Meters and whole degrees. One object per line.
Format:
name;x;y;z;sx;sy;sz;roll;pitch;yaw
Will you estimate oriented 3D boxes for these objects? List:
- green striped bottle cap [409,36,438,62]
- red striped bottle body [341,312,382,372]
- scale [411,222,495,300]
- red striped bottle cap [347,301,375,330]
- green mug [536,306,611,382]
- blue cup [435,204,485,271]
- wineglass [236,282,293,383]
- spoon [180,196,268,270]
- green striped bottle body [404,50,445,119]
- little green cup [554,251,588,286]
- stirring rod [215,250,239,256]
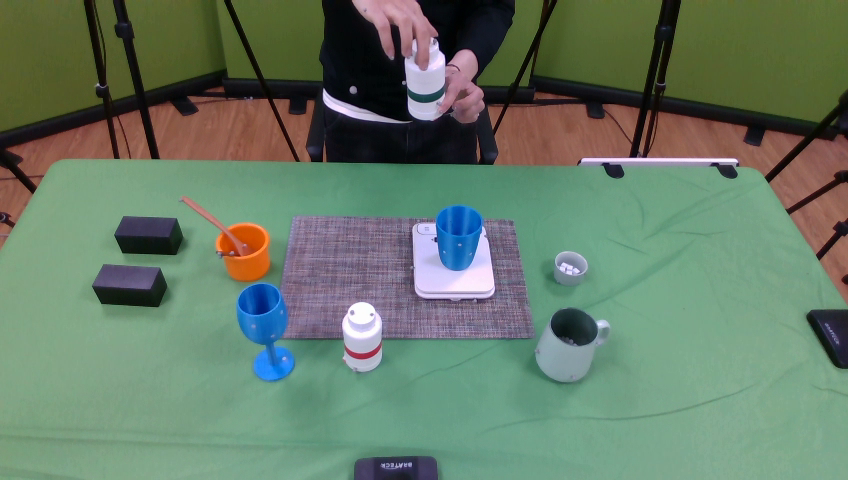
green striped bottle cap;-0.001;-0.288;0.914;0.044;0.020;0.044;-1;49;2
red striped bottle body;-0.100;0.154;0.972;0.063;0.120;0.062;2;46;-2
scale;0.052;0.031;1.158;0.149;0.032;0.199;1;46;-4
red striped bottle cap;-0.097;0.116;0.934;0.044;0.018;0.044;2;49;-3
green mug;0.250;0.167;0.996;0.125;0.105;0.092;-15;48;-19
blue cup;0.061;0.001;1.097;0.092;0.101;0.092;1;44;0
wineglass;-0.243;0.143;0.934;0.074;0.173;0.073;2;46;-2
spoon;-0.360;-0.014;1.094;0.021;0.194;0.041;-28;26;31
green striped bottle body;0.001;-0.256;0.955;0.063;0.120;0.063;-1;51;2
little green cup;0.277;0.055;1.152;0.061;0.039;0.061;1;46;-1
stirring rod;-0.339;0.024;1.059;0.014;0.176;0.006;17;86;-6
